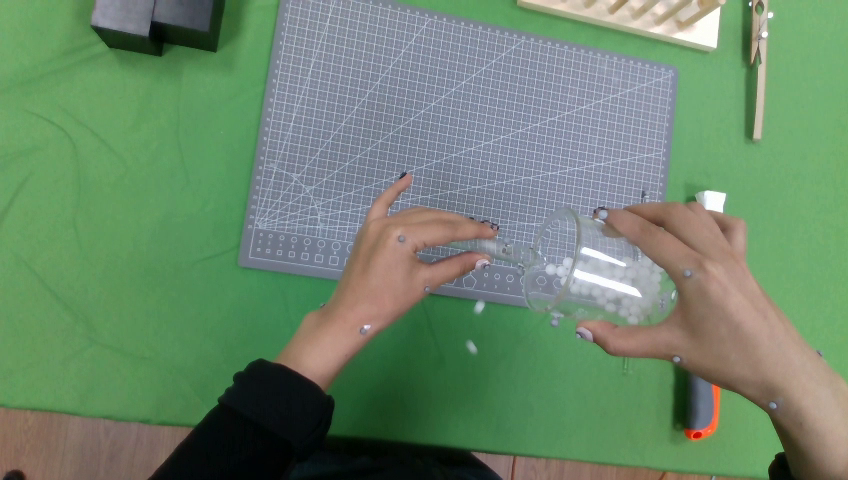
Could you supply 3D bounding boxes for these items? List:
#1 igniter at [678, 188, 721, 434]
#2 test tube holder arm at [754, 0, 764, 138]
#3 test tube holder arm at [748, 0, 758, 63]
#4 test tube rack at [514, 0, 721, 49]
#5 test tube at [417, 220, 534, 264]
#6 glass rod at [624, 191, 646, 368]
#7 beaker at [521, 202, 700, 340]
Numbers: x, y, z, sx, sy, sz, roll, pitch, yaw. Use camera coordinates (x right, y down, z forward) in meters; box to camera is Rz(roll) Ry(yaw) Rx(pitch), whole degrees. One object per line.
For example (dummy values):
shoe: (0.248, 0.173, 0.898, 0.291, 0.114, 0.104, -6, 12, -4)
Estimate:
igniter: (0.313, 0.079, 0.684, 0.057, 0.025, 0.276, 6, 86, -21)
test tube holder arm: (0.398, -0.211, 0.720, 0.013, 0.015, 0.178, -1, 86, 25)
test tube holder arm: (0.393, -0.256, 0.725, 0.010, 0.015, 0.087, 0, 87, 25)
test tube rack: (0.229, -0.280, 0.658, 0.243, 0.085, 0.066, 9, 85, -10)
test tube: (0.037, -0.001, 0.506, 0.017, 0.149, 0.017, -7, 102, -32)
glass rod: (0.236, 0.043, 0.677, 0.008, 0.008, 0.199, 8, 85, -11)
beaker: (0.127, 0.025, 0.418, 0.101, 0.083, 0.074, 17, 87, -12)
